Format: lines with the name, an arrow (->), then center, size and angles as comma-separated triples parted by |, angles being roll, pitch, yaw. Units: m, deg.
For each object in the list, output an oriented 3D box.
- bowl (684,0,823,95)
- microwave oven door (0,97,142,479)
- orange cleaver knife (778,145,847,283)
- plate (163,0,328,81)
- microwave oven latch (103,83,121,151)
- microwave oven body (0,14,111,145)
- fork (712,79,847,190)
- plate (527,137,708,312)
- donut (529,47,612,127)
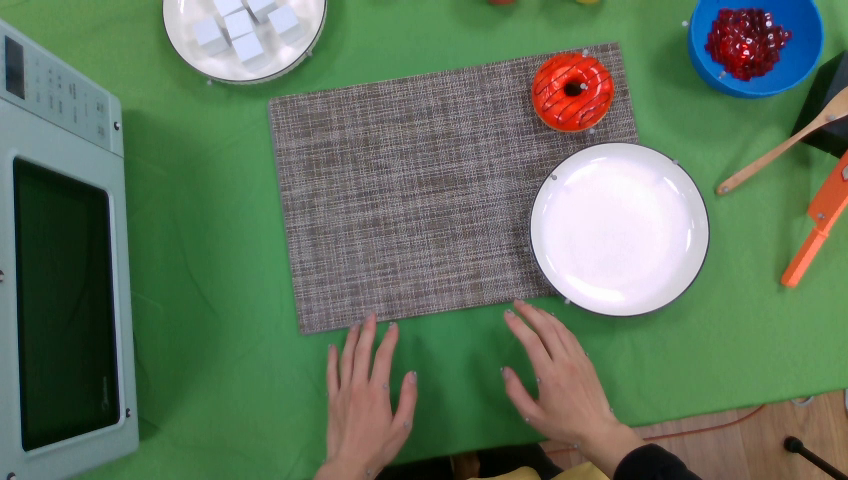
bowl -> 0.377, -0.237, 0.724 | 0.151, 0.077, 0.151 | 0, 85, 2
microwave oven door -> -0.374, 0.056, 0.618 | 0.039, 0.244, 0.354 | -7, 83, 2
orange cleaver knife -> 0.468, -0.048, 0.699 | 0.012, 0.077, 0.212 | 22, 115, 3
plate -> -0.222, -0.299, 0.771 | 0.207, 0.039, 0.207 | 0, 84, 2
microwave oven latch -> -0.391, -0.149, 0.742 | 0.030, 0.029, 0.079 | -5, 85, 1
microwave oven body -> -0.524, 0.031, 0.631 | 0.326, 0.261, 0.440 | -6, 84, 1
fork -> 0.430, -0.125, 0.705 | 0.207, 0.018, 0.028 | -39, 90, 18
plate -> 0.226, -0.017, 0.722 | 0.209, 0.038, 0.208 | 0, 84, 2
donut -> 0.177, -0.186, 0.738 | 0.099, 0.048, 0.099 | 0, 85, 4
